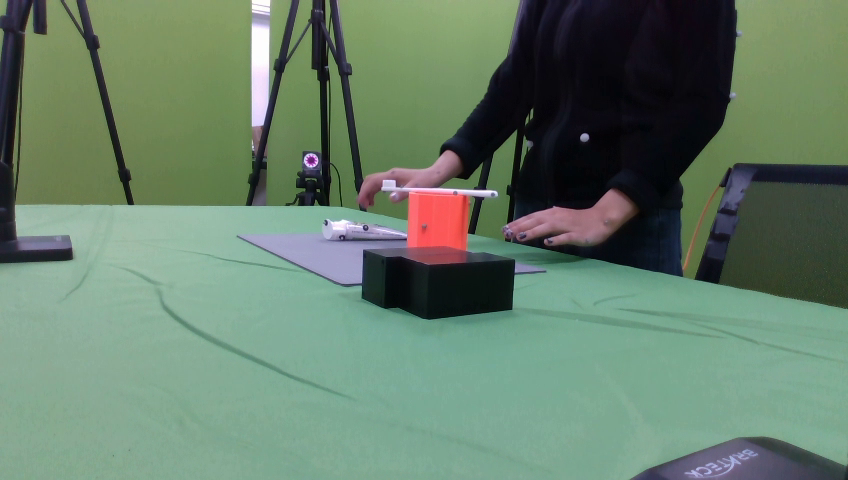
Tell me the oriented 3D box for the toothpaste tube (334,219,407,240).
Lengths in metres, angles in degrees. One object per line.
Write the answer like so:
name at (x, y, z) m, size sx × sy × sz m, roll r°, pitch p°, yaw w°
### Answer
toothpaste tube at (-0.084, -0.016, 1.052) m, size 0.166 × 0.034 × 0.055 m, roll 2°, pitch 13°, yaw -29°

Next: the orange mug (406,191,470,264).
orange mug at (0.027, -0.023, 0.866) m, size 0.083 × 0.101 × 0.126 m, roll 6°, pitch 12°, yaw 24°

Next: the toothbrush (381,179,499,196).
toothbrush at (0.019, -0.073, 0.841) m, size 0.181 × 0.016 × 0.014 m, roll 6°, pitch 4°, yaw 27°

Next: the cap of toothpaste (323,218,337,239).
cap of toothpaste at (-0.157, -0.019, 1.013) m, size 0.011 × 0.037 × 0.037 m, roll -8°, pitch 12°, yaw -40°
